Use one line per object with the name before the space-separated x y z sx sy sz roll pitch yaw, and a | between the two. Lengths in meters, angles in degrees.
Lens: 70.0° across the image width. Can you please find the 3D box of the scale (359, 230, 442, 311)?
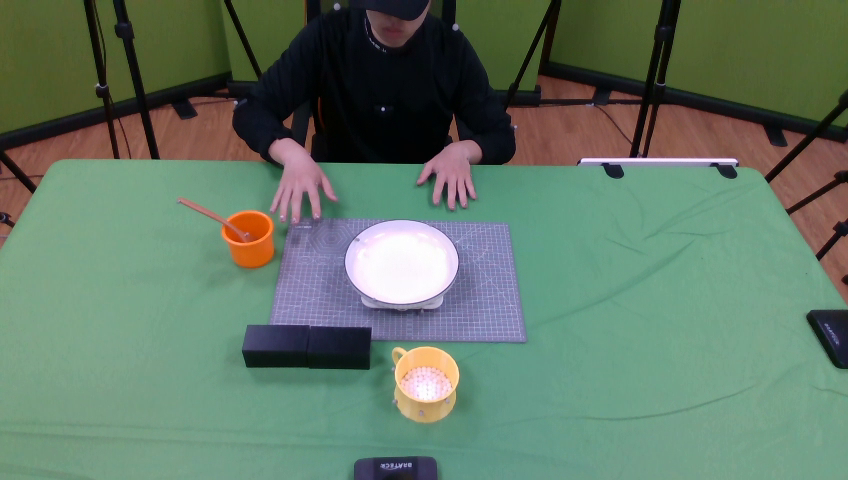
scale | -0.043 0.047 1.138 0.149 0.032 0.199 2 46 -3

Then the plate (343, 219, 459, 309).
plate | -0.041 0.046 1.094 0.209 0.038 0.208 2 46 -2

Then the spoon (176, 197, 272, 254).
spoon | -0.362 -0.028 1.108 0.021 0.195 0.041 -35 36 24

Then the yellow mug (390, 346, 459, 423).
yellow mug | -0.009 0.217 0.958 0.100 0.064 0.130 -33 56 -31
